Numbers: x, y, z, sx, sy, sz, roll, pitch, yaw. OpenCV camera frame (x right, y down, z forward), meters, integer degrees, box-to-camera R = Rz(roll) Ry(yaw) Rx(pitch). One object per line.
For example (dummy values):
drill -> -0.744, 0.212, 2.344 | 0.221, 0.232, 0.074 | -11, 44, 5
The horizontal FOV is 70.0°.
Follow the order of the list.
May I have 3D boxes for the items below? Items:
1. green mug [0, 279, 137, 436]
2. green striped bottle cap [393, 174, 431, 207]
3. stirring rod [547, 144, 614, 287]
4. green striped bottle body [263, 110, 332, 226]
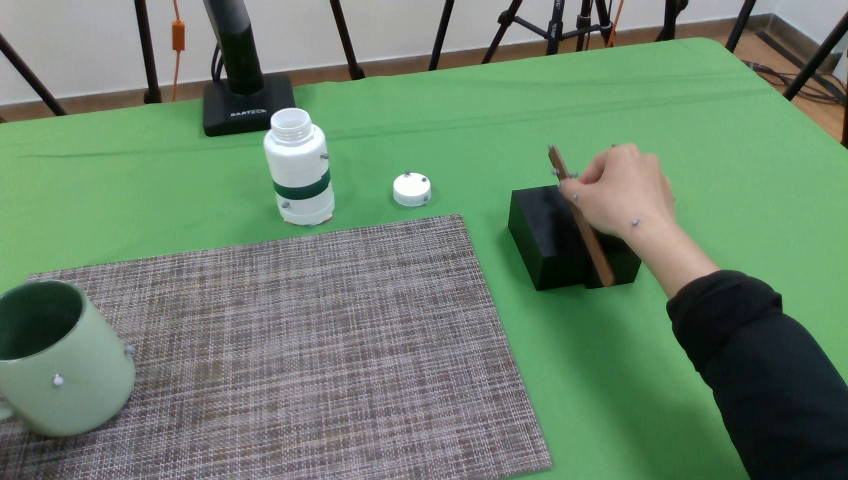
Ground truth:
green mug -> -0.301, 0.102, 0.471 | 0.125, 0.106, 0.091 | -31, 53, -27
green striped bottle cap -> -0.015, -0.057, 0.702 | 0.044, 0.020, 0.044 | -1, 41, 1
stirring rod -> 0.149, -0.029, 0.588 | 0.006, 0.014, 0.174 | 6, 50, -24
green striped bottle body -> -0.135, -0.078, 0.649 | 0.063, 0.120, 0.062 | 0, 45, 0
